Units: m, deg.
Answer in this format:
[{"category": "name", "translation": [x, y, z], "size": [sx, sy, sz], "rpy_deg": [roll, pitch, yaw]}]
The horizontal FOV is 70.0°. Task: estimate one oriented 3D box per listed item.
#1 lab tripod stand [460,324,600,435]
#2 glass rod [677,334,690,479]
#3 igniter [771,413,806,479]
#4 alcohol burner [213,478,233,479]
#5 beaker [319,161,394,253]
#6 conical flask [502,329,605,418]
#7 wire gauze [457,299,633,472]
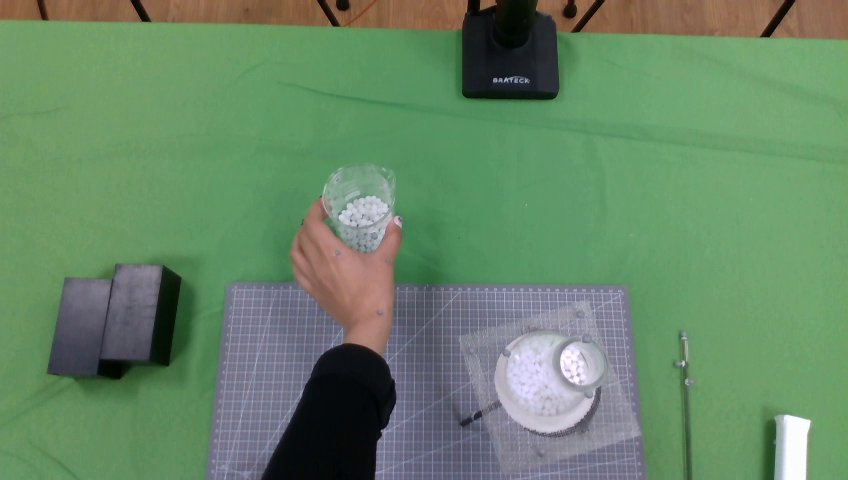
[{"category": "lab tripod stand", "translation": [0.105, 0.145, 0.585], "size": [0.148, 0.132, 0.147], "rpy_deg": [0, 74, 0]}, {"category": "glass rod", "translation": [0.274, 0.198, 0.639], "size": [0.008, 0.008, 0.198], "rpy_deg": [5, 72, 0]}, {"category": "igniter", "translation": [0.353, 0.312, 0.596], "size": [0.057, 0.025, 0.275], "rpy_deg": [16, 73, -7]}, {"category": "alcohol burner", "translation": [-0.193, 0.261, 0.554], "size": [0.078, 0.119, 0.077], "rpy_deg": [1, 73, -2]}, {"category": "beaker", "translation": [-0.067, -0.033, 0.659], "size": [0.084, 0.101, 0.073], "rpy_deg": [-38, 77, -12]}, {"category": "conical flask", "translation": [0.104, 0.100, 0.468], "size": [0.075, 0.122, 0.075], "rpy_deg": [0, 74, -1]}, {"category": "wire gauze", "translation": [0.104, 0.123, 0.523], "size": [0.125, 0.011, 0.121], "rpy_deg": [-15, 76, -7]}]
